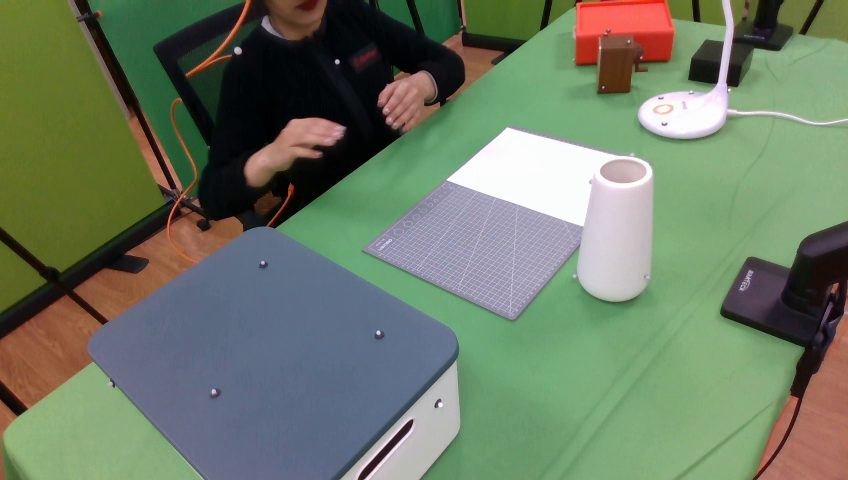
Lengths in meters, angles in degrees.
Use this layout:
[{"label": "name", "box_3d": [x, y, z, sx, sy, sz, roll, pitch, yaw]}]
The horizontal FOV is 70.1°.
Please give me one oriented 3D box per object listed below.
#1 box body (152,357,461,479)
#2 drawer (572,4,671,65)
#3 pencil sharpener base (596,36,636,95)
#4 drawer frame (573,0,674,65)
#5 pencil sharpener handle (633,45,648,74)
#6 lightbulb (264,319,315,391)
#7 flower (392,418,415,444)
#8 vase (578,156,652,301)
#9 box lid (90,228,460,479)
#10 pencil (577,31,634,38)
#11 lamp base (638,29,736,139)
[{"label": "box body", "box_3d": [-0.162, 0.170, 0.708, 0.361, 0.161, 0.255, 25, 50, 34]}, {"label": "drawer", "box_3d": [0.461, -0.490, 1.434, 0.211, 0.073, 0.194, 2, 40, 12]}, {"label": "pencil sharpener base", "box_3d": [0.406, -0.369, 1.280, 0.076, 0.107, 0.061, 1, 41, 13]}, {"label": "drawer frame", "box_3d": [0.464, -0.492, 1.434, 0.213, 0.083, 0.201, 1, 40, 12]}, {"label": "pencil sharpener handle", "box_3d": [0.454, -0.378, 1.262, 0.030, 0.068, 0.036, 1, 47, 13]}, {"label": "lightbulb", "box_3d": [-0.175, 0.154, 0.806, 0.060, 0.060, 0.107, -24, 58, -17]}, {"label": "flower", "box_3d": [-0.153, 0.228, 0.743, 0.360, 0.038, 0.044, -2, 44, 16]}, {"label": "vase", "box_3d": [0.261, -0.011, 0.812, 0.098, 0.201, 0.097, -4, 40, 4]}, {"label": "box lid", "box_3d": [-0.173, 0.112, 0.662, 0.368, 0.015, 0.264, 25, 50, 35]}, {"label": "pencil", "box_3d": [0.431, -0.489, 1.443, 0.012, 0.012, 0.192, -25, 30, -18]}, {"label": "lamp base", "box_3d": [0.501, -0.302, 1.125, 0.179, 0.181, 0.160, -4, 40, 3]}]
